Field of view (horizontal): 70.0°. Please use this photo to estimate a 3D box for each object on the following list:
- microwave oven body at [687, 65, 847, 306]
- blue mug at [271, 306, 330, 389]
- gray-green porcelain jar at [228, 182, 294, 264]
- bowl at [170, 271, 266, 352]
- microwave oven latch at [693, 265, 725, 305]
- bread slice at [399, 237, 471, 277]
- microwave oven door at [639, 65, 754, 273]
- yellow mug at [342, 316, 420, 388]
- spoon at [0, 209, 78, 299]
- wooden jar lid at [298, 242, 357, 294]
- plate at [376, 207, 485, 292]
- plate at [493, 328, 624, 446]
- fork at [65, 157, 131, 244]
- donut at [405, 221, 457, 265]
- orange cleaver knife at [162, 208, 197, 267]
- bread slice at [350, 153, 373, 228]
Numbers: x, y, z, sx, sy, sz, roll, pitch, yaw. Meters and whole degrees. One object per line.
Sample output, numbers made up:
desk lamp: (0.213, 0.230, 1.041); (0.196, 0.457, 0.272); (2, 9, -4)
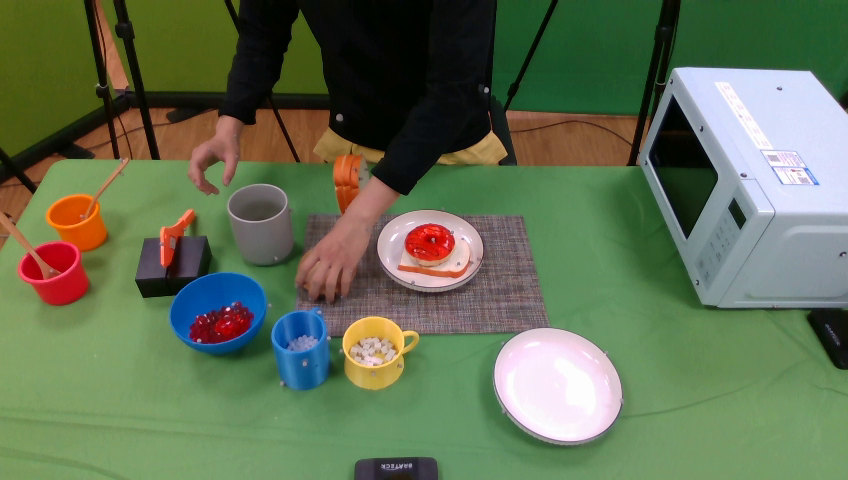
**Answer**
microwave oven body: (0.669, -0.111, 1.176); (0.326, 0.261, 0.439); (0, 46, -3)
blue mug: (-0.188, 0.163, 0.969); (0.082, 0.106, 0.116); (15, 47, 10)
gray-green porcelain jar: (-0.299, -0.026, 1.125); (0.106, 0.127, 0.105); (2, 46, -2)
bowl: (-0.333, 0.132, 1.006); (0.151, 0.077, 0.150); (2, 46, -2)
microwave oven latch: (0.522, 0.082, 1.115); (0.030, 0.029, 0.078); (2, 46, -1)
bread slice: (0.025, 0.024, 1.161); (0.131, 0.019, 0.104); (7, 47, 8)
microwave oven door: (0.522, -0.147, 1.192); (0.039, 0.245, 0.353); (0, 47, -3)
yellow mug: (-0.068, 0.177, 0.990); (0.131, 0.064, 0.099); (-15, 50, -19)
spoon: (-0.668, 0.022, 1.040); (0.041, 0.021, 0.194); (-41, 105, -29)
wooden jar lid: (-0.175, 0.053, 1.106); (0.108, 0.021, 0.107); (-2, 55, 3)
plate: (0.012, 0.021, 1.159); (0.209, 0.038, 0.208); (2, 47, -2)
plate: (0.213, 0.236, 0.974); (0.208, 0.039, 0.206); (2, 46, -2)
fork: (-0.609, -0.074, 1.132); (0.207, 0.019, 0.028); (-52, 49, 10)
donut: (0.013, 0.004, 1.136); (0.099, 0.048, 0.098); (0, 46, 0)
orange cleaver knife: (-0.454, -0.010, 1.129); (0.012, 0.077, 0.210); (-1, 17, -6)
bread slice: (-0.124, -0.104, 1.207); (0.018, 0.135, 0.106); (-1, 48, 7)
